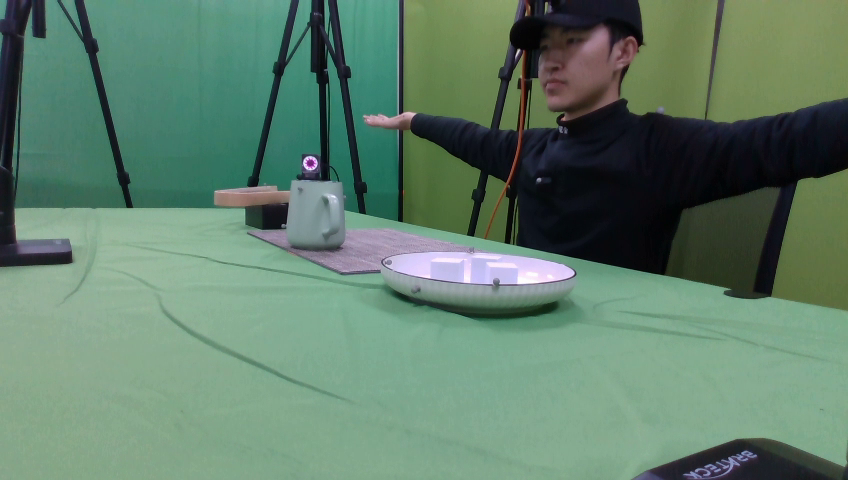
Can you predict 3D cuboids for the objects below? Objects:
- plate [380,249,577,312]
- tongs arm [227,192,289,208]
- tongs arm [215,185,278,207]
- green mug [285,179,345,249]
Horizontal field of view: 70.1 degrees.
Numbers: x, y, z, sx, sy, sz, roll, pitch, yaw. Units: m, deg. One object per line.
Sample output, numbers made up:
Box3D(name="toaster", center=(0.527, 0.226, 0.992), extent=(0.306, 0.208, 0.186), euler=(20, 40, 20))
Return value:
Box3D(name="plate", center=(0.056, 0.042, 0.646), extent=(0.209, 0.038, 0.209), euler=(2, 7, 0))
Box3D(name="tongs arm", center=(-0.285, -0.092, 1.284), extent=(0.028, 0.028, 0.389), euler=(12, 10, 18))
Box3D(name="tongs arm", center=(-0.362, -0.098, 1.297), extent=(0.051, 0.026, 0.385), euler=(6, 8, 6))
Box3D(name="green mug", center=(-0.161, -0.040, 0.936), extent=(0.093, 0.105, 0.124), euler=(-2, 8, -32))
